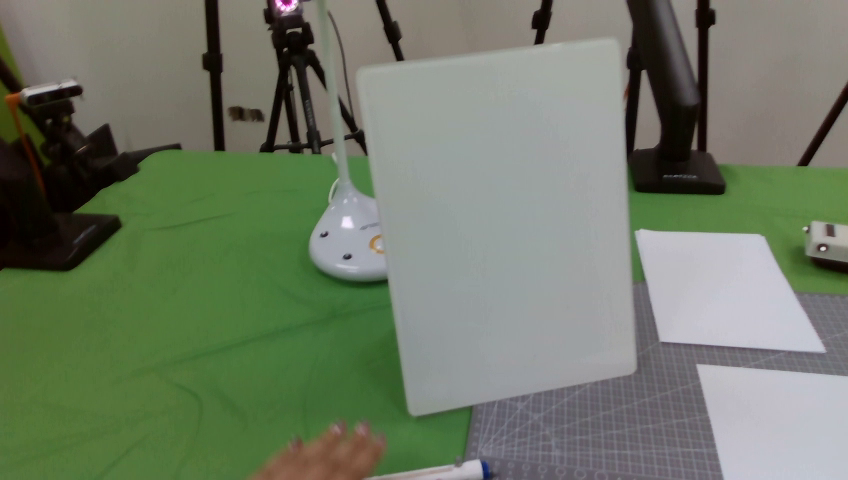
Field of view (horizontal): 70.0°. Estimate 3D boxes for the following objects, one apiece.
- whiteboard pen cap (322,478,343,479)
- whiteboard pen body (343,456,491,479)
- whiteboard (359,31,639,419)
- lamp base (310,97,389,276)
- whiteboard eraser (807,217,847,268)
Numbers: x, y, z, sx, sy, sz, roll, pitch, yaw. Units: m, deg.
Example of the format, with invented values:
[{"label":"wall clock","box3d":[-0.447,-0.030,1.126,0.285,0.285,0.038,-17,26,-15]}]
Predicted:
[{"label":"whiteboard pen cap","box3d":[-0.076,0.192,0.464,0.033,0.018,0.018,-5,33,-9]},{"label":"whiteboard pen body","box3d":[-0.018,0.186,0.470,0.141,0.017,0.017,-7,33,-7]},{"label":"whiteboard","box3d":[0.065,-0.021,0.575,0.217,0.307,0.143,-9,14,-6]},{"label":"lamp base","box3d":[-0.076,-0.073,0.732,0.161,0.182,0.177,-25,36,-29]},{"label":"whiteboard eraser","box3d":[0.493,0.008,0.676,0.112,0.042,0.055,13,38,24]}]
